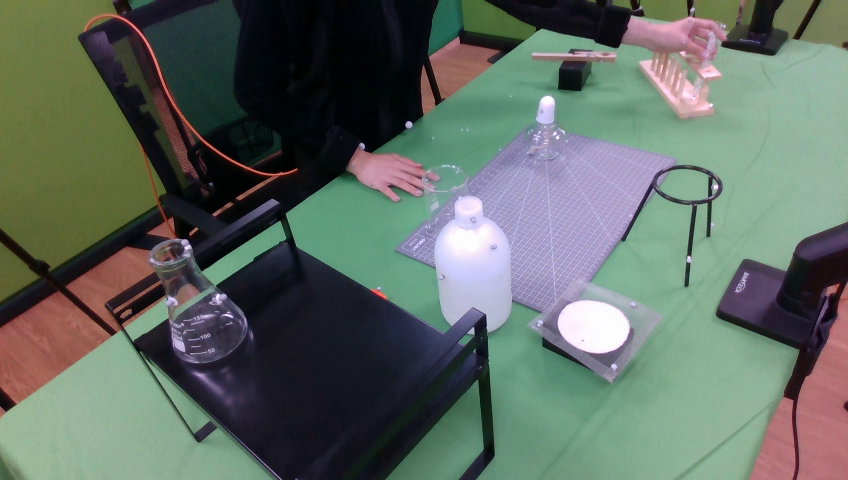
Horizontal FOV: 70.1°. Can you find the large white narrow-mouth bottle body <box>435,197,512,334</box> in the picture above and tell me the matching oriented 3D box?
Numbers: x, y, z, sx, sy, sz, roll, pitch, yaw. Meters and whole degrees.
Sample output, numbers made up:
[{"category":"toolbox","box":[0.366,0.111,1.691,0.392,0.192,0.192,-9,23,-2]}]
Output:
[{"category":"large white narrow-mouth bottle body","box":[0.066,0.028,0.805,0.102,0.195,0.101,-4,40,4]}]

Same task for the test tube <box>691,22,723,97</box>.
[{"category":"test tube","box":[0.546,-0.346,1.171,0.017,0.151,0.017,1,41,0]}]

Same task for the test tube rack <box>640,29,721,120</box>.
[{"category":"test tube rack","box":[0.527,-0.351,1.262,0.067,0.085,0.241,-8,40,1]}]

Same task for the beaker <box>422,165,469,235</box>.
[{"category":"beaker","box":[0.041,-0.063,0.986,0.073,0.101,0.084,20,47,29]}]

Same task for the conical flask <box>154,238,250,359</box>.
[{"category":"conical flask","box":[-0.225,0.055,0.597,0.075,0.122,0.075,-5,41,4]}]

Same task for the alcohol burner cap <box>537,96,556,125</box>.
[{"category":"alcohol burner cap","box":[0.223,-0.237,1.095,0.034,0.048,0.033,0,43,1]}]

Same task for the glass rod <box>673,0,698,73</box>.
[{"category":"glass rod","box":[0.537,-0.425,1.244,0.008,0.200,0.008,0,47,0]}]

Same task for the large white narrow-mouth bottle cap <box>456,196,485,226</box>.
[{"category":"large white narrow-mouth bottle cap","box":[0.058,-0.036,0.749,0.038,0.024,0.037,-4,40,4]}]

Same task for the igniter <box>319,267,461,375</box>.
[{"category":"igniter","box":[-0.060,0.108,0.862,0.274,0.025,0.057,29,62,35]}]

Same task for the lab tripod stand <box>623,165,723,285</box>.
[{"category":"lab tripod stand","box":[0.366,-0.030,0.874,0.148,0.132,0.147,-6,41,6]}]

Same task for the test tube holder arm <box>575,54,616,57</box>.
[{"category":"test tube holder arm","box":[0.374,-0.398,1.318,0.087,0.015,0.010,5,51,16]}]

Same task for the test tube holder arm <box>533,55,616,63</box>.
[{"category":"test tube holder arm","box":[0.329,-0.398,1.327,0.178,0.015,0.013,5,51,16]}]

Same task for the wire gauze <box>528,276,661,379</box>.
[{"category":"wire gauze","box":[0.214,0.103,0.763,0.124,0.011,0.122,30,52,35]}]

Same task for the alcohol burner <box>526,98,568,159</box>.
[{"category":"alcohol burner","box":[0.228,-0.210,1.118,0.078,0.119,0.077,-5,43,5]}]
